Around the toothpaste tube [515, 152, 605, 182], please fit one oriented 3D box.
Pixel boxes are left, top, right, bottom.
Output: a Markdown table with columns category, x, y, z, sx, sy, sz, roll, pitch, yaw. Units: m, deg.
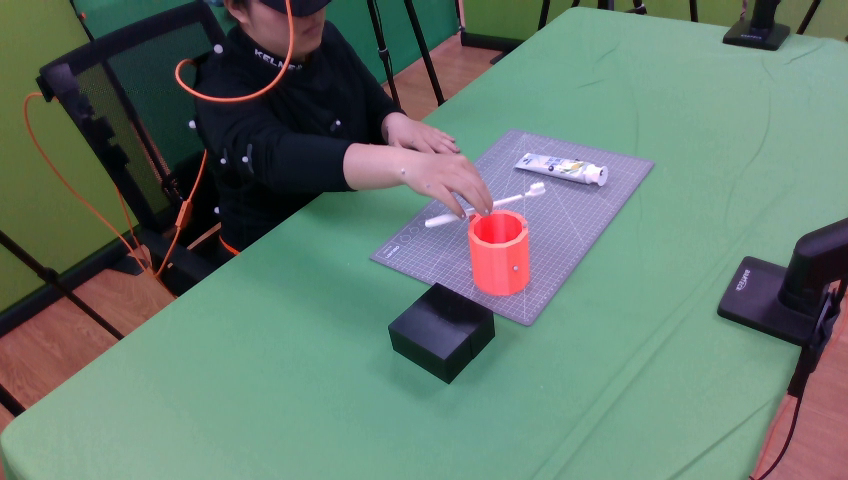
| category | x | y | z | sx | sy | sz | roll | pitch | yaw |
| --- | --- | --- | --- | --- | --- | --- | --- | --- | --- |
| toothpaste tube | 0.249 | -0.133 | 1.087 | 0.164 | 0.034 | 0.055 | 17 | 42 | 34 |

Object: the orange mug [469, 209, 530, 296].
| category | x | y | z | sx | sy | sz | roll | pitch | yaw |
| --- | --- | --- | --- | --- | --- | --- | --- | --- | --- |
| orange mug | 0.104 | 0.008 | 0.894 | 0.084 | 0.101 | 0.125 | -22 | 46 | -14 |

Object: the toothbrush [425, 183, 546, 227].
| category | x | y | z | sx | sy | sz | roll | pitch | yaw |
| --- | --- | --- | --- | --- | --- | --- | --- | --- | --- |
| toothbrush | 0.088 | -0.049 | 0.852 | 0.182 | 0.017 | 0.014 | -17 | 51 | -8 |

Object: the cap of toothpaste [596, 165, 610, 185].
| category | x | y | z | sx | sy | sz | roll | pitch | yaw |
| --- | --- | --- | --- | --- | --- | --- | --- | --- | --- |
| cap of toothpaste | 0.307 | -0.113 | 1.041 | 0.011 | 0.037 | 0.037 | 20 | 48 | 39 |
